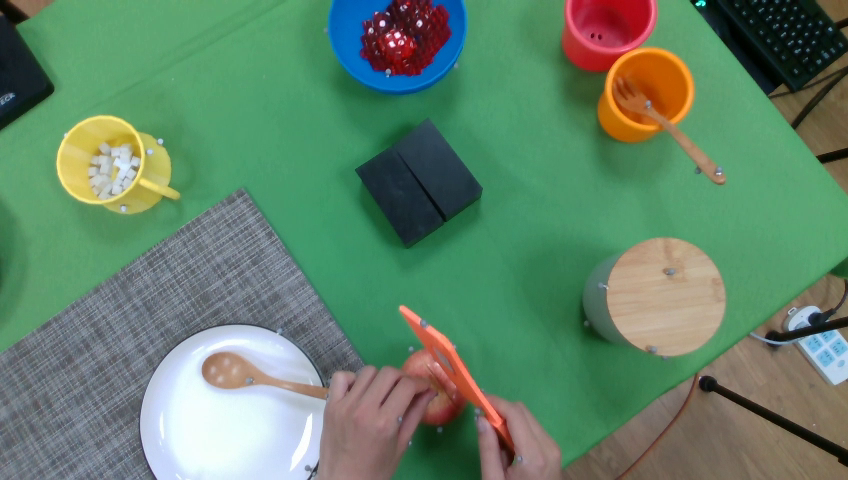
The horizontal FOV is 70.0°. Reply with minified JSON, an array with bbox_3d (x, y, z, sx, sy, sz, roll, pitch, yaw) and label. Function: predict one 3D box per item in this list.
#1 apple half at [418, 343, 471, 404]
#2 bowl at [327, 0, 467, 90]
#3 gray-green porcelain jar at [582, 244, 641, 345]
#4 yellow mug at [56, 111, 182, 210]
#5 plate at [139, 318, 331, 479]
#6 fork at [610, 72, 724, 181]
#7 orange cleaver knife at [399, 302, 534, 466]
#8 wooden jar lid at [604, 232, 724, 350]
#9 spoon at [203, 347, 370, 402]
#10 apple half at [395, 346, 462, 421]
[{"bbox_3d":[0.030,0.134,0.647,0.033,0.081,0.081,-39,84,3],"label":"apple half"},{"bbox_3d":[-0.027,-0.233,0.682,0.151,0.077,0.151,0,85,2],"label":"bowl"},{"bbox_3d":[0.223,0.054,0.622,0.106,0.127,0.105,0,84,3],"label":"gray-green porcelain jar"},{"bbox_3d":[-0.336,-0.081,0.687,0.131,0.064,0.100,26,86,4],"label":"yellow mug"},{"bbox_3d":[-0.204,0.190,0.667,0.209,0.038,0.208,0,85,2],"label":"plate"},{"bbox_3d":[0.247,-0.122,0.625,0.028,0.019,0.205,-19,41,0],"label":"fork"},{"bbox_3d":[0.041,0.136,0.562,0.012,0.076,0.213,-42,120,-15],"label":"orange cleaver knife"},{"bbox_3d":[0.219,0.047,0.560,0.108,0.021,0.108,0,86,1],"label":"wooden jar lid"},{"bbox_3d":[-0.151,0.151,0.655,0.193,0.022,0.041,9,73,16],"label":"spoon"},{"bbox_3d":[-0.002,0.159,0.648,0.053,0.075,0.080,-37,87,2],"label":"apple half"}]
